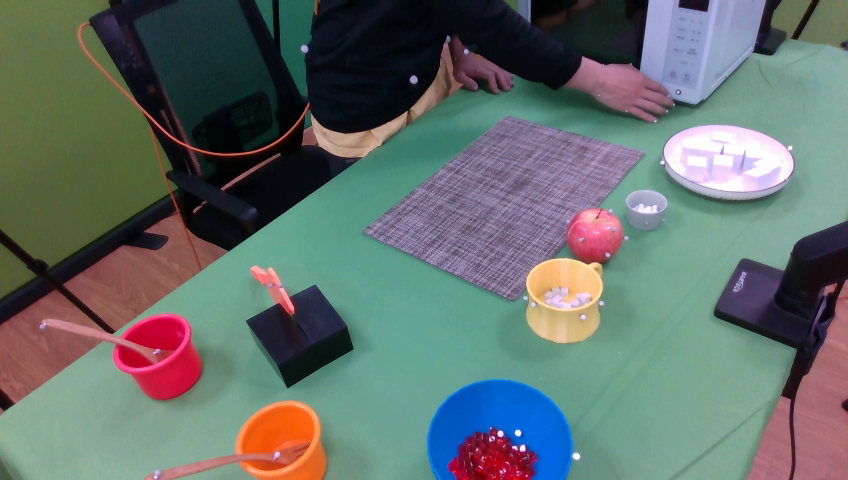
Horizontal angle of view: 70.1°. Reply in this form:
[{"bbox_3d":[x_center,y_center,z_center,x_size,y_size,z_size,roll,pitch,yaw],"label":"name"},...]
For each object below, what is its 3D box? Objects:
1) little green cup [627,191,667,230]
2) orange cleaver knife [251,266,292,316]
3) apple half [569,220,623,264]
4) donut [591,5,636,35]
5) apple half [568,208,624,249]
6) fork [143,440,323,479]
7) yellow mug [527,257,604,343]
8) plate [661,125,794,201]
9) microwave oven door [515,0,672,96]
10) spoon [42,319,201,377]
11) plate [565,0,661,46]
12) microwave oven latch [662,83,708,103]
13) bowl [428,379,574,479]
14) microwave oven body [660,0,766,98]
[{"bbox_3d":[0.352,-0.046,0.963,0.061,0.039,0.061,-4,40,4],"label":"little green cup"},{"bbox_3d":[-0.221,0.071,0.873,0.012,0.077,0.210,-25,11,-21],"label":"orange cleaver knife"},{"bbox_3d":[0.251,0.010,0.884,0.081,0.081,0.032,3,37,13],"label":"apple half"},{"bbox_3d":[0.427,-0.498,1.365,0.099,0.048,0.098,-4,39,4],"label":"donut"},{"bbox_3d":[0.259,-0.014,0.914,0.080,0.075,0.053,0,36,15],"label":"apple half"},{"bbox_3d":[-0.190,0.231,0.631,0.028,0.018,0.209,38,14,37],"label":"fork"},{"bbox_3d":[0.201,0.072,0.825,0.131,0.064,0.099,-32,46,-27],"label":"yellow mug"},{"bbox_3d":[0.513,-0.128,1.035,0.207,0.039,0.206,-4,40,4],"label":"plate"},{"bbox_3d":[0.344,-0.455,1.260,0.353,0.245,0.039,26,51,33],"label":"microwave oven door"},{"bbox_3d":[-0.385,0.135,0.779,0.195,0.021,0.041,29,37,-27],"label":"spoon"},{"bbox_3d":[0.427,-0.491,1.376,0.209,0.038,0.208,-5,41,5],"label":"plate"},{"bbox_3d":[0.518,-0.296,1.204,0.078,0.029,0.030,28,52,36],"label":"microwave oven latch"},{"bbox_3d":[0.082,0.233,0.644,0.151,0.077,0.150,-4,40,4],"label":"bowl"},{"bbox_3d":[0.472,-0.513,1.317,0.438,0.261,0.327,26,51,34],"label":"microwave oven body"}]
